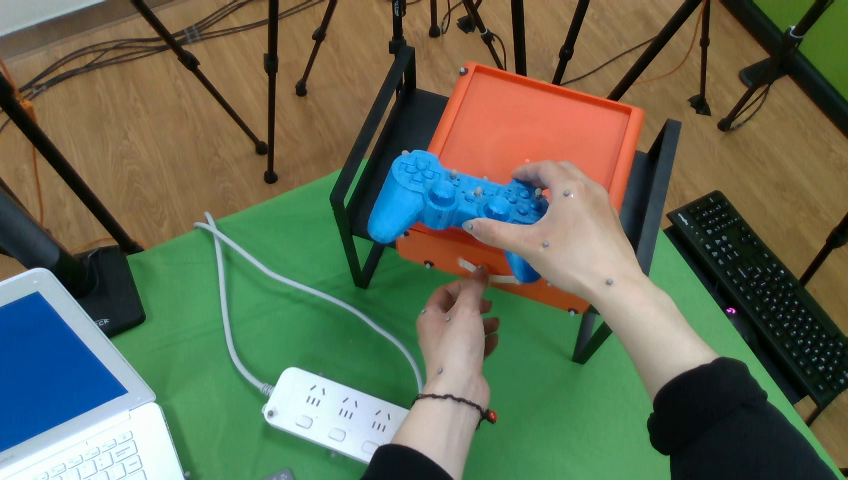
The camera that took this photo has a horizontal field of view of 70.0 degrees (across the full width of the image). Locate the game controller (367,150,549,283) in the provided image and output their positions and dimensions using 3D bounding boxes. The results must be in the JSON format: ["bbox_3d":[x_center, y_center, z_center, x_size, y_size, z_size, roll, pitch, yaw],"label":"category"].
[{"bbox_3d":[0.036,-0.027,0.524,0.155,0.052,0.096,16,49,-4],"label":"game controller"}]

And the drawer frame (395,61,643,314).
[{"bbox_3d":[0.098,-0.059,0.625,0.201,0.083,0.212,17,65,8],"label":"drawer frame"}]

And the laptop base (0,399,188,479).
[{"bbox_3d":[-0.422,0.356,0.660,0.354,0.023,0.233,-25,70,-12],"label":"laptop base"}]

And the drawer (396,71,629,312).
[{"bbox_3d":[0.098,-0.054,0.623,0.194,0.074,0.210,18,66,8],"label":"drawer"}]

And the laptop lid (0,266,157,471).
[{"bbox_3d":[-0.499,0.178,0.625,0.357,0.244,0.013,-26,43,-11],"label":"laptop lid"}]

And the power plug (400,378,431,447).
[{"bbox_3d":[-0.001,0.204,0.702,0.035,0.053,0.072,28,67,14],"label":"power plug"}]

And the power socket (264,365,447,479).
[{"bbox_3d":[-0.082,0.216,0.721,0.226,0.033,0.072,19,66,8],"label":"power socket"}]
